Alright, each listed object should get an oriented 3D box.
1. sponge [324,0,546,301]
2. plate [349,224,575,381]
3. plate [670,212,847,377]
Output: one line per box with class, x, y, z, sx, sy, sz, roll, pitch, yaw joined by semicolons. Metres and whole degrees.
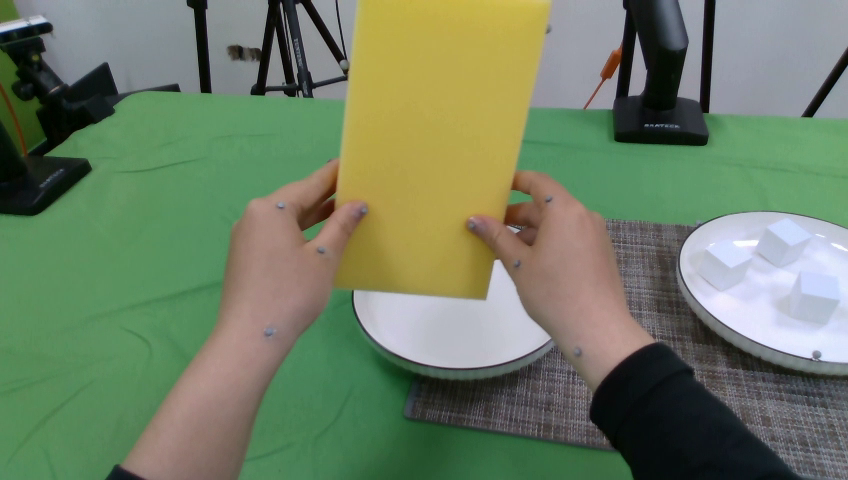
sponge;-0.001;-0.065;0.424;0.118;0.208;0.060;7;20;-10
plate;0.035;0.056;0.572;0.209;0.038;0.207;-2;37;2
plate;0.333;0.048;0.555;0.207;0.039;0.205;-2;38;2
